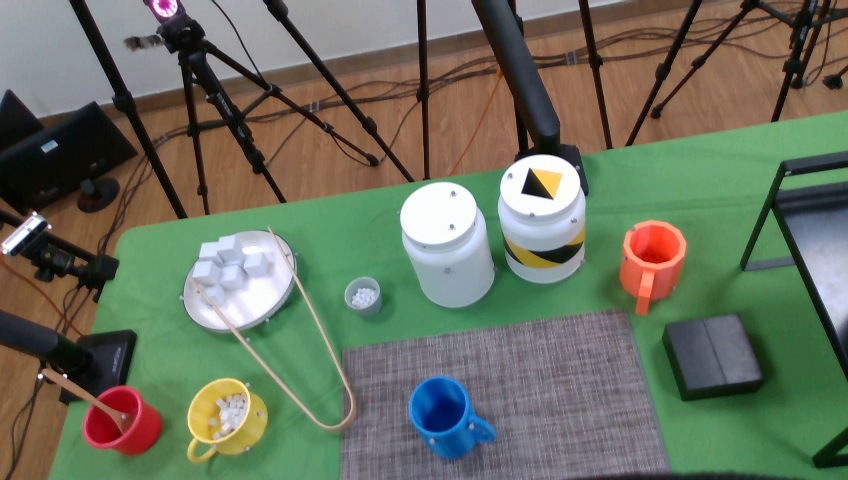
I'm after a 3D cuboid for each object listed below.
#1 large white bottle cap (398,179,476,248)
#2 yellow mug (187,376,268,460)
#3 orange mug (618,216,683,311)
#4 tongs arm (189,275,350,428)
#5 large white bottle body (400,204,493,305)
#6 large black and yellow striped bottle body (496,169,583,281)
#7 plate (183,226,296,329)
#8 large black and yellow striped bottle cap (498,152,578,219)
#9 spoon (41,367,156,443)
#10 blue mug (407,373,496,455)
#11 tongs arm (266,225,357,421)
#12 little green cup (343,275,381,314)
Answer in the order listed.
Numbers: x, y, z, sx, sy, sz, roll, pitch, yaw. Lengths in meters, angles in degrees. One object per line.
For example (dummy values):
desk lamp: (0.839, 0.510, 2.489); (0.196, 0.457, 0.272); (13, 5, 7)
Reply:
large white bottle cap: (0.018, -0.040, 0.885); (0.114, 0.018, 0.113); (-6, 56, 10)
yellow mug: (-0.309, 0.279, 0.926); (0.099, 0.064, 0.130); (26, 67, 26)
orange mug: (0.336, 0.040, 0.914); (0.083, 0.102, 0.125); (11, 56, 20)
tongs arm: (-0.259, 0.169, 0.981); (0.051, 0.027, 0.381); (-40, 64, -18)
large white bottle body: (0.036, 0.006, 0.955); (0.130, 0.186, 0.129); (-6, 55, 9)
large black and yellow striped bottle body: (0.182, -0.033, 0.947); (0.130, 0.186, 0.129); (-6, 55, 10)
plate: (-0.326, 0.069, 1.088); (0.207, 0.039, 0.205); (-6, 56, 9)
large black and yellow striped bottle cap: (0.165, -0.081, 0.879); (0.115, 0.019, 0.114); (-5, 56, 8)
spoon: (-0.504, 0.253, 0.941); (0.195, 0.021, 0.041); (40, 64, -15)
blue mug: (0.043, 0.247, 0.836); (0.116, 0.107, 0.082); (13, 60, 21)
tongs arm: (-0.192, 0.121, 1.001); (0.028, 0.028, 0.383); (-25, 61, -14)
little green cup: (-0.102, 0.094, 1.018); (0.061, 0.039, 0.061); (-6, 57, 9)
